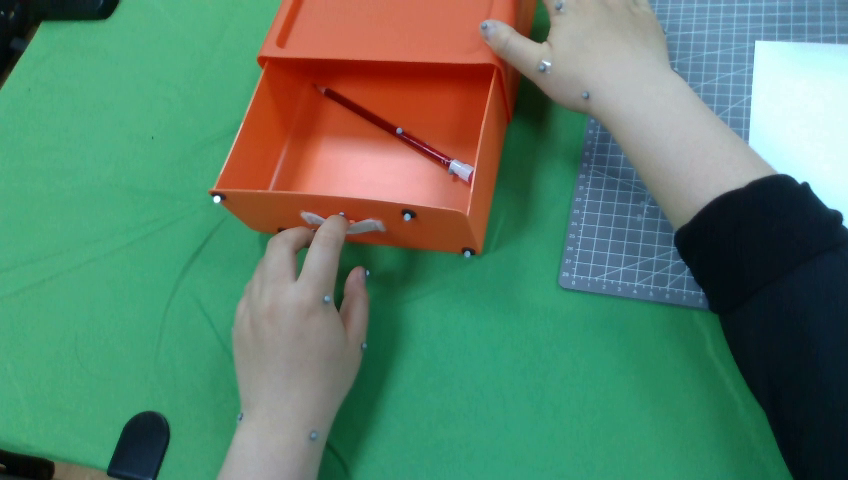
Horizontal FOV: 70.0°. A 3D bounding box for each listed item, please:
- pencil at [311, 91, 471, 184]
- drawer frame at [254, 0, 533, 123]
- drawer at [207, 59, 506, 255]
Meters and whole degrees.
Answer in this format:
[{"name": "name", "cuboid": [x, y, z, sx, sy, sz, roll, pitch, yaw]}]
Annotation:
[{"name": "pencil", "cuboid": [-0.031, -0.089, 0.500, 0.192, 0.012, 0.012, 32, 76, 28]}, {"name": "drawer frame", "cuboid": [-0.012, -0.206, 0.518, 0.201, 0.083, 0.212, 6, 66, 18]}, {"name": "drawer", "cuboid": [-0.038, -0.100, 0.474, 0.194, 0.074, 0.210, 5, 66, 18]}]
